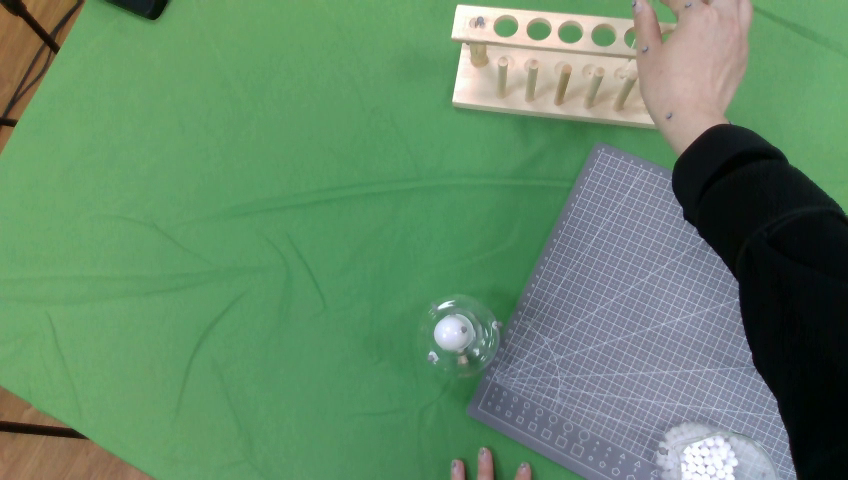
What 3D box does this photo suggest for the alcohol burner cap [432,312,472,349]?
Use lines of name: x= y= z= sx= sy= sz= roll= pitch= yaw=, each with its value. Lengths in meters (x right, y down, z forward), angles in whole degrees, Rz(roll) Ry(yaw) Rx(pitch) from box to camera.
alcohol burner cap: x=0.022 y=0.077 z=0.510 sx=0.034 sy=0.048 sz=0.034 roll=-1 pitch=84 yaw=9

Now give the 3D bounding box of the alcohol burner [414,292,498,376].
alcohol burner: x=0.028 y=0.083 z=0.545 sx=0.078 sy=0.119 sz=0.077 roll=-1 pitch=79 yaw=6

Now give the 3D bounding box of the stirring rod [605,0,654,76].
stirring rod: x=0.180 y=-0.192 z=0.502 sx=0.014 sy=0.177 sz=0.006 roll=35 pitch=74 yaw=12

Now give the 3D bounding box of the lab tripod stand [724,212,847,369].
lab tripod stand: x=0.324 y=0.038 z=0.499 sx=0.148 sy=0.132 sz=0.148 roll=-1 pitch=82 yaw=7

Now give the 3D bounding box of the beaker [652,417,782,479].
beaker: x=0.234 y=0.187 z=0.505 sx=0.083 sy=0.101 sz=0.074 roll=32 pitch=86 yaw=13

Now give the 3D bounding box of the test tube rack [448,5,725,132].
test tube rack: x=0.146 y=-0.163 z=0.583 sx=0.242 sy=0.085 sz=0.066 roll=8 pitch=82 yaw=9
